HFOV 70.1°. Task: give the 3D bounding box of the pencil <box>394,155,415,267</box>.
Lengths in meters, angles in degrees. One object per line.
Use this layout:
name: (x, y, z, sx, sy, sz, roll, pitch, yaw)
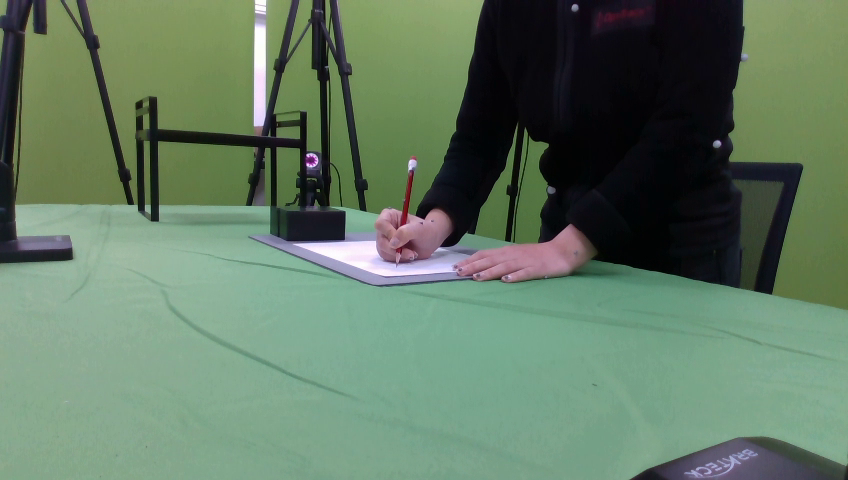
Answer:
pencil: (-0.027, -0.044, 0.837, 0.012, 0.193, 0.012, 5, -34, 4)
